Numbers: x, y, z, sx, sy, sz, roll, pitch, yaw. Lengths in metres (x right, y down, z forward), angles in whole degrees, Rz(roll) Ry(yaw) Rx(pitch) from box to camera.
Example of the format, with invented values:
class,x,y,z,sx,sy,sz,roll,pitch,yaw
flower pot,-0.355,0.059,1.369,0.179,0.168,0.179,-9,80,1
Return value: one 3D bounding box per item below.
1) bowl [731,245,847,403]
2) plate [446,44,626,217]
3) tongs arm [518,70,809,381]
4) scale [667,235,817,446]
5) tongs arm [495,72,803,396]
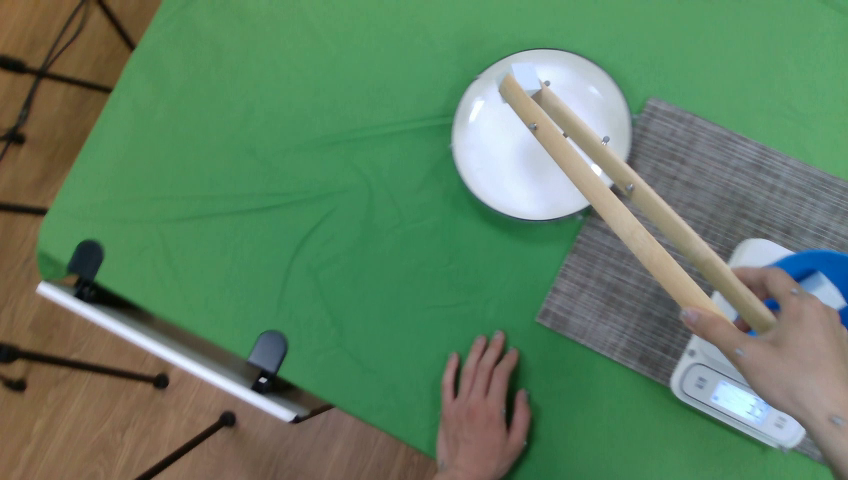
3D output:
class,x,y,z,sx,sy,sz,roll,pitch,yaw
bowl,0.378,0.084,0.613,0.151,0.077,0.151,-1,84,5
plate,0.130,-0.127,0.719,0.207,0.039,0.207,-1,83,6
tongs arm,0.196,-0.029,0.559,0.051,0.026,0.381,-20,61,-36
scale,0.375,0.108,0.664,0.148,0.031,0.200,27,87,9
tongs arm,0.177,-0.024,0.546,0.028,0.028,0.384,-13,57,-37
